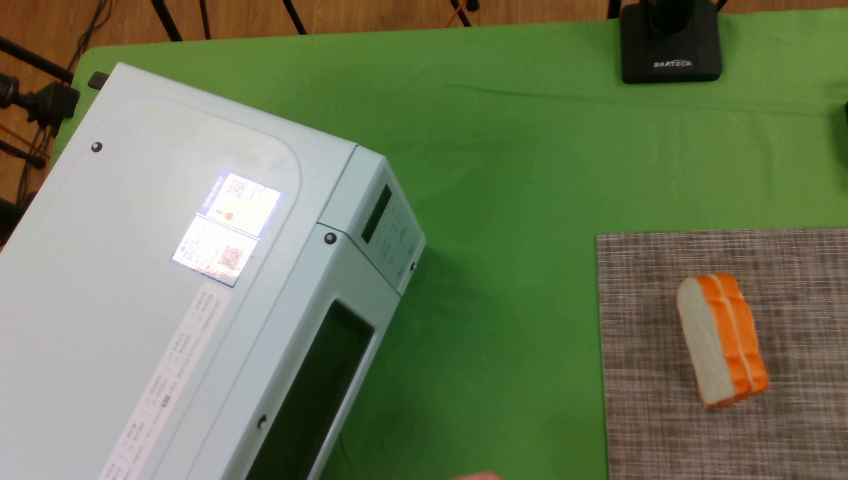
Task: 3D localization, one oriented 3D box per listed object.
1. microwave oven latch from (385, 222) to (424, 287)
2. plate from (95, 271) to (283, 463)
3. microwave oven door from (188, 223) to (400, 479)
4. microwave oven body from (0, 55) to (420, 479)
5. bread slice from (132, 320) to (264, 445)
[{"bbox_3d":[-0.027,0.014,0.720,0.030,0.030,0.079,22,78,15],"label":"microwave oven latch"},{"bbox_3d":[-0.255,0.138,0.673,0.207,0.039,0.206,-2,72,5],"label":"plate"},{"bbox_3d":[-0.132,0.178,0.579,0.039,0.245,0.354,20,77,16],"label":"microwave oven door"},{"bbox_3d":[-0.247,0.093,0.630,0.324,0.262,0.440,21,78,14],"label":"microwave oven body"},{"bbox_3d":[-0.251,0.165,0.669,0.134,0.018,0.106,-24,70,-7],"label":"bread slice"}]
